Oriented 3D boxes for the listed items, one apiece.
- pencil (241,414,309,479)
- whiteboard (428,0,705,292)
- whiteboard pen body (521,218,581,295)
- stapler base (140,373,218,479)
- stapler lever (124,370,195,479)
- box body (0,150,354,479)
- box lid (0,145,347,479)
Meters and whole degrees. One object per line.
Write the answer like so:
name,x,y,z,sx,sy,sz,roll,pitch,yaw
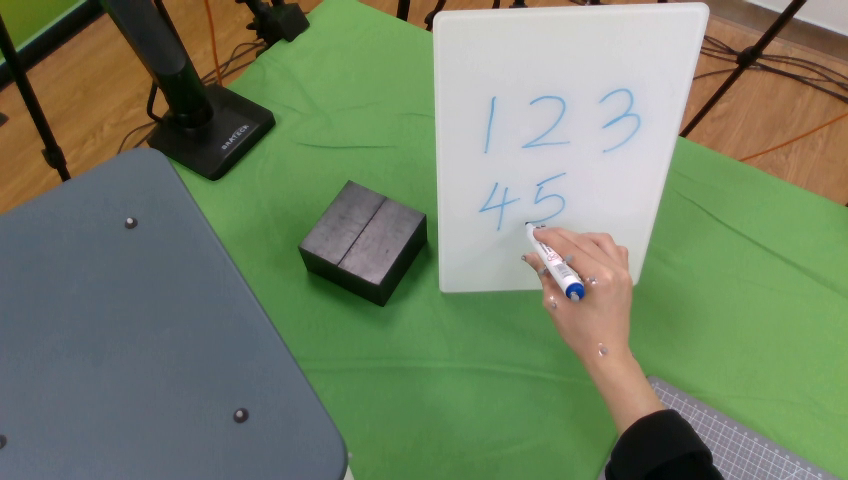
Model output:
pencil,-0.173,0.230,0.545,0.012,0.012,0.193,32,54,19
whiteboard,0.115,-0.109,0.614,0.217,0.308,0.142,-2,40,1
whiteboard pen body,0.108,0.009,0.538,0.017,0.017,0.139,-10,27,-5
stapler base,-0.234,0.185,0.564,0.041,0.025,0.129,2,62,23
stapler lever,-0.241,0.174,0.544,0.026,0.040,0.117,2,60,23
box body,-0.252,0.134,0.525,0.254,0.162,0.361,-33,64,-16
box lid,-0.255,0.095,0.462,0.263,0.015,0.368,-32,65,-17
